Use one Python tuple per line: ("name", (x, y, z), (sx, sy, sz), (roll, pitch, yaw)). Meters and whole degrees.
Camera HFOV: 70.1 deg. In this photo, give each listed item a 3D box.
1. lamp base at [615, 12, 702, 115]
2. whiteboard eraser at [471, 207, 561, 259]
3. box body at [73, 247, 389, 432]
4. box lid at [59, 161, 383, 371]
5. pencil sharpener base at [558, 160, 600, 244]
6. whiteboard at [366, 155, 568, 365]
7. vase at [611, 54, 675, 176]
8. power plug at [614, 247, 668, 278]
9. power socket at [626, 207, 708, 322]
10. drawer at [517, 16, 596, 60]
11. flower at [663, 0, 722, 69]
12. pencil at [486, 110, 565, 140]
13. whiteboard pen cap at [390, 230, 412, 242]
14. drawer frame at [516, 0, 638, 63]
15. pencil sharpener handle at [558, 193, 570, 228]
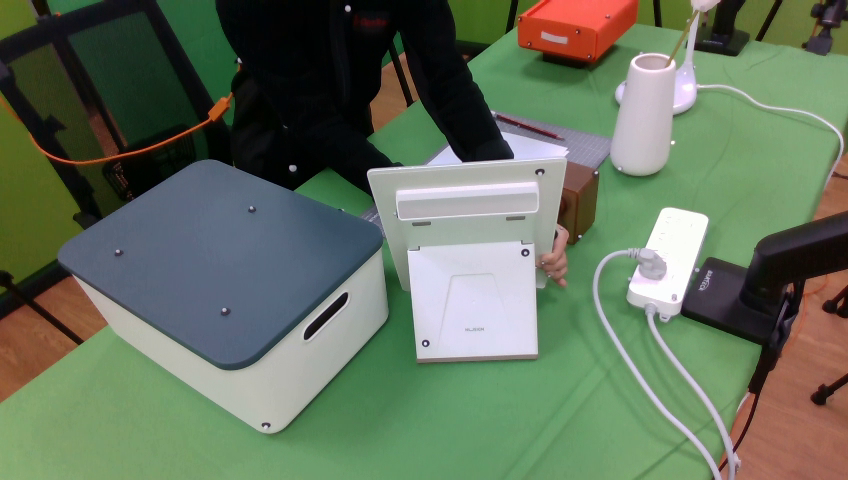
("lamp base", (0.484, -0.363, 1.211), (0.180, 0.181, 0.159), (-15, 41, -14))
("whiteboard eraser", (0.124, -0.006, 0.813), (0.112, 0.056, 0.041), (-16, 63, 22))
("box body", (-0.255, 0.065, 0.827), (0.361, 0.161, 0.255), (21, 48, 29))
("box lid", (-0.262, 0.010, 0.777), (0.369, 0.015, 0.264), (21, 48, 29))
("pencil sharpener base", (0.228, -0.057, 0.945), (0.061, 0.107, 0.077), (24, 50, 31))
("whiteboard", (0.059, 0.050, 0.738), (0.217, 0.307, 0.143), (-3, 60, 5))
("vase", (0.377, -0.209, 1.031), (0.098, 0.201, 0.097), (-3, 40, 3))
("power plug", (0.306, 0.031, 0.851), (0.072, 0.053, 0.035), (24, 49, 33))
("power socket", (0.359, 0.026, 0.886), (0.072, 0.033, 0.227), (16, 46, 26))
("drawer", (0.352, -0.506, 1.405), (0.193, 0.073, 0.212), (23, 49, 32))
("flower", (0.379, -0.261, 0.965), (0.044, 0.362, 0.038), (21, 53, 5))
("pencil", (0.204, -0.232, 1.226), (0.192, 0.012, 0.012), (29, 52, 33))
("whiteboard pen cap", (-0.037, -0.006, 0.980), (0.033, 0.018, 0.018), (8, 43, 16))
("drawer frame", (0.355, -0.508, 1.410), (0.200, 0.083, 0.214), (23, 51, 32))
("pencil sharpener handle", (0.195, -0.038, 0.908), (0.035, 0.068, 0.031), (23, 50, 32))
